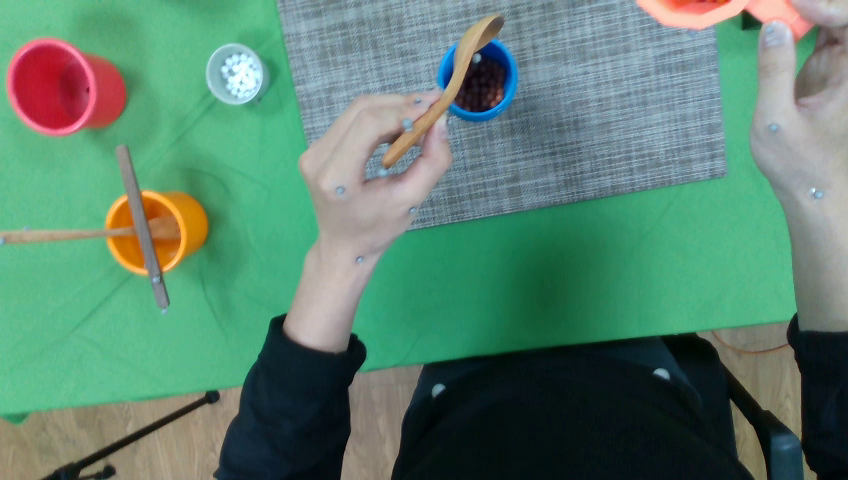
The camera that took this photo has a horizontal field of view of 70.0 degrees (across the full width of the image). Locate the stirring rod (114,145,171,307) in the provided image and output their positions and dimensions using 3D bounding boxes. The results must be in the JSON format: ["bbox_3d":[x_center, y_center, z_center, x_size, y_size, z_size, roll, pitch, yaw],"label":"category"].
[{"bbox_3d":[-0.299,-0.013,0.645,0.014,0.006,0.176,-10,100,7],"label":"stirring rod"}]

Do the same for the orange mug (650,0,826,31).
[{"bbox_3d":[0.203,-0.184,0.393,0.125,0.101,0.084,47,133,11],"label":"orange mug"}]

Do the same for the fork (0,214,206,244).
[{"bbox_3d":[-0.342,-0.009,0.651,0.208,0.018,0.028,-6,112,-39],"label":"fork"}]

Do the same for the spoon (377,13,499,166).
[{"bbox_3d":[0.014,-0.105,0.404,0.022,0.192,0.041,37,137,-11],"label":"spoon"}]

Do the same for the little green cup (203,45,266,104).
[{"bbox_3d":[-0.204,-0.179,0.662,0.061,0.038,0.062,1,102,5],"label":"little green cup"}]

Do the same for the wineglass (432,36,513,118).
[{"bbox_3d":[0.046,-0.152,0.576,0.073,0.172,0.074,1,101,5],"label":"wineglass"}]
